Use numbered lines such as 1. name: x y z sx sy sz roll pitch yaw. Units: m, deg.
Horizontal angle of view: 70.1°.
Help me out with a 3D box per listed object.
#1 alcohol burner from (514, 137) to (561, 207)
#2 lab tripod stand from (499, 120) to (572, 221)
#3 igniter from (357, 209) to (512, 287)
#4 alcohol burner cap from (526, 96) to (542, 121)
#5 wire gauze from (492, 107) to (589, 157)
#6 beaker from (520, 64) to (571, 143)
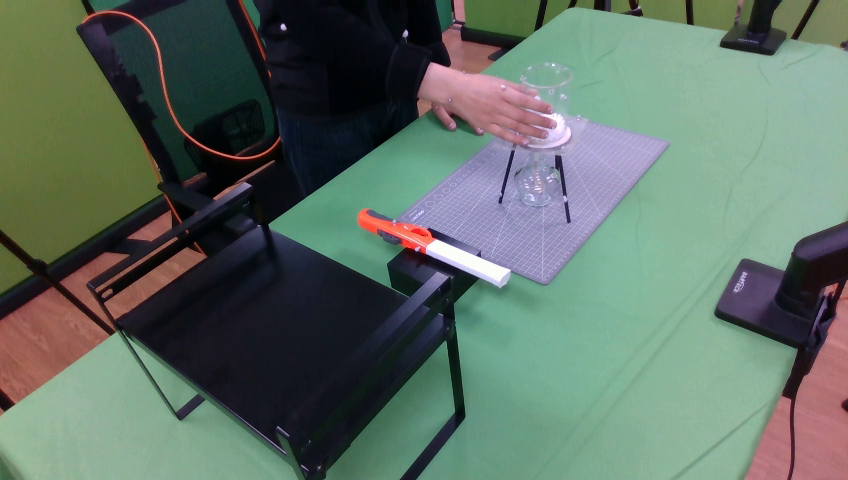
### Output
1. alcohol burner: 0.189 -0.116 1.008 0.078 0.119 0.077 -6 39 5
2. lab tripod stand: 0.197 -0.117 0.993 0.148 0.132 0.147 -3 40 3
3. igniter: 0.004 0.006 0.891 0.274 0.025 0.057 23 38 30
4. alcohol burner cap: 0.225 -0.272 1.243 0.034 0.048 0.033 -5 41 5
5. wire gauze: 0.186 -0.170 0.954 0.121 0.011 0.125 13 46 22
6. beaker: 0.186 -0.208 0.924 0.073 0.101 0.084 24 50 30
